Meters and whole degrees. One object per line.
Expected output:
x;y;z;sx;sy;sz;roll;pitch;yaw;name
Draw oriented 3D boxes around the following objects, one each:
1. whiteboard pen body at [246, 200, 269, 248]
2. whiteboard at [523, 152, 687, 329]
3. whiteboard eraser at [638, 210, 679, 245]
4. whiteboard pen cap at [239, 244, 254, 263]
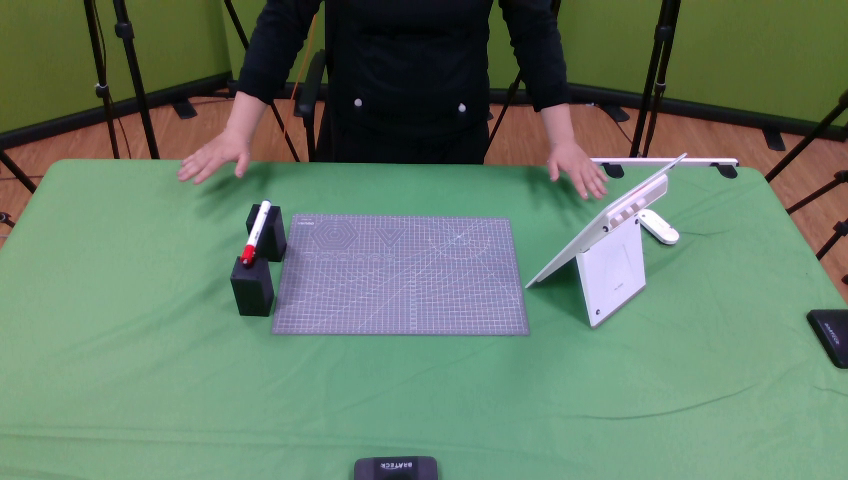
-0.293;-0.020;1.059;0.017;0.017;0.139;5;46;0;whiteboard pen body
0.346;0.024;1.047;0.217;0.306;0.143;-30;74;-29;whiteboard
0.485;-0.027;1.260;0.041;0.019;0.100;-21;50;-21;whiteboard eraser
-0.298;0.022;1.016;0.017;0.017;0.032;6;45;2;whiteboard pen cap
